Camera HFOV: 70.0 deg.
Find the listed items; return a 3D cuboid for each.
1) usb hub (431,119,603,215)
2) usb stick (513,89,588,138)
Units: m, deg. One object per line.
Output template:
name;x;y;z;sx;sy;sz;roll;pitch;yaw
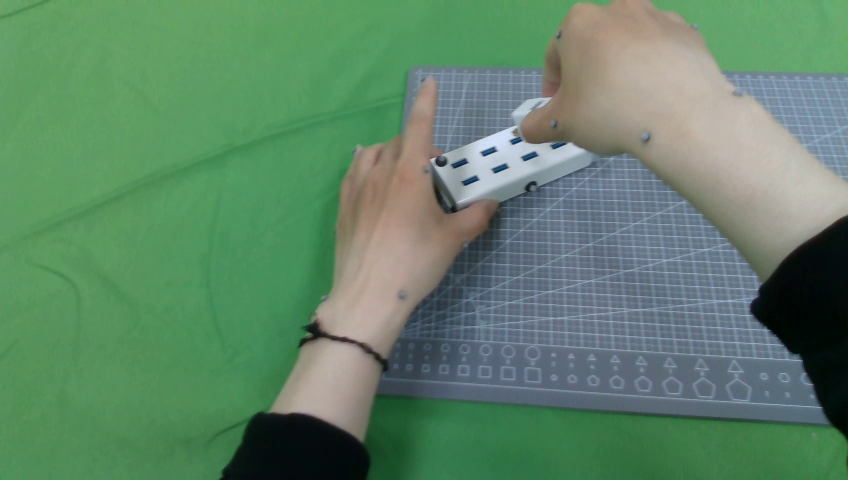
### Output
usb hub;0.071;-0.065;0.468;0.125;0.025;0.049;-22;62;-10
usb stick;0.081;-0.085;0.414;0.021;0.027;0.059;-43;24;-21
